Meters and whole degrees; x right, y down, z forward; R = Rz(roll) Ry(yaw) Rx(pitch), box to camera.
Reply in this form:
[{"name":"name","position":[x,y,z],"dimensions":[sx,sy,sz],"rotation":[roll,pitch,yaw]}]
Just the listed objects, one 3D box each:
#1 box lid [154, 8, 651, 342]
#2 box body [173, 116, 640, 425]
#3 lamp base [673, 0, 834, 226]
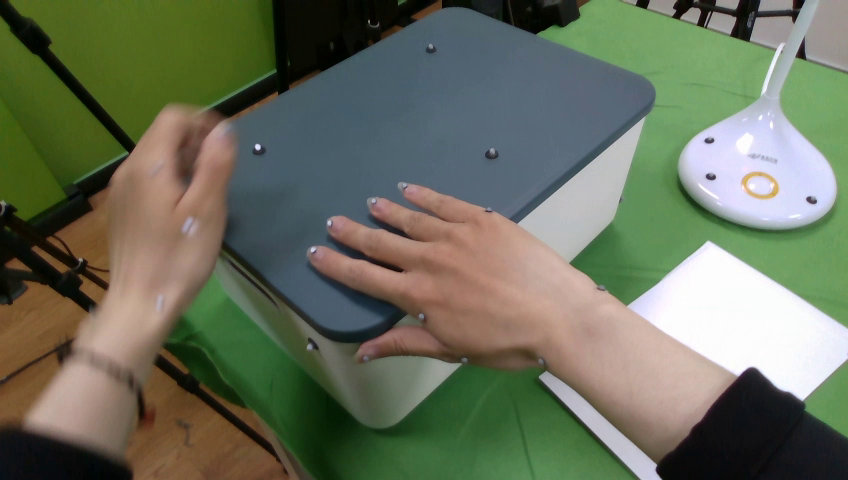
[{"name":"box lid","position":[-0.012,-0.090,0.511],"dimensions":[0.261,0.015,0.371],"rotation":[34,58,31]},{"name":"box body","position":[-0.005,-0.041,0.566],"dimensions":[0.252,0.162,0.364],"rotation":[34,58,30]},{"name":"lamp base","position":[0.354,-0.136,0.612],"dimensions":[0.160,0.182,0.178],"rotation":[7,45,11]}]
